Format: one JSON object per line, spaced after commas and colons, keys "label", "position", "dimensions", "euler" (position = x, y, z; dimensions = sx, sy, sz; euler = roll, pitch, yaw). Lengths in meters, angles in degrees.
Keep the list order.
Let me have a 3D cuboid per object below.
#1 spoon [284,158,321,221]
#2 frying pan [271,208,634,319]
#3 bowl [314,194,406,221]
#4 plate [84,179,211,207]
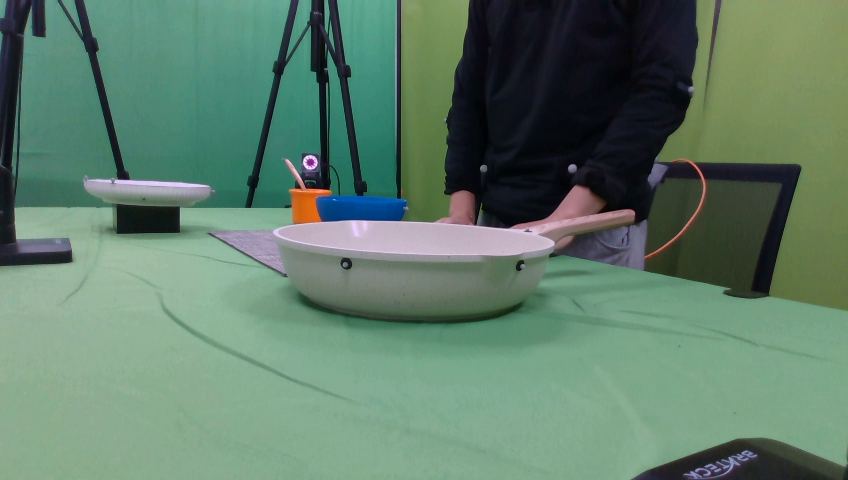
{"label": "spoon", "position": [-0.269, -0.113, 1.336], "dimensions": [0.042, 0.193, 0.021], "euler": [-4, -35, -43]}
{"label": "frying pan", "position": [0.076, 0.003, 0.695], "dimensions": [0.490, 0.102, 0.305], "euler": [-12, 14, -30]}
{"label": "bowl", "position": [-0.105, -0.032, 0.991], "dimensions": [0.151, 0.077, 0.151], "euler": [3, 7, 0]}
{"label": "plate", "position": [-0.495, -0.085, 1.093], "dimensions": [0.208, 0.039, 0.207], "euler": [4, 7, 0]}
